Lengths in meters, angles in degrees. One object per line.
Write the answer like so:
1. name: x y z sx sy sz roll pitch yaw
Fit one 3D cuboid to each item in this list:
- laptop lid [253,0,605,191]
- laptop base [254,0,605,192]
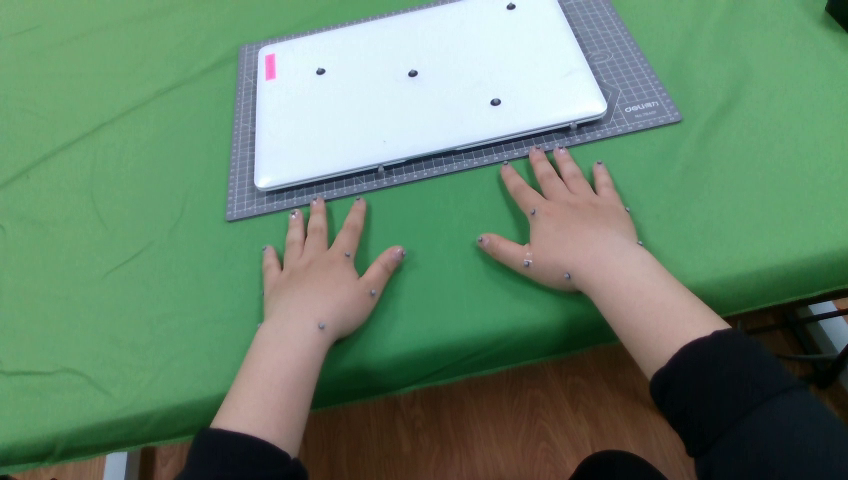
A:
1. laptop lid: -0.012 -0.175 0.649 0.357 0.013 0.239 -11 54 3
2. laptop base: -0.011 -0.169 0.660 0.354 0.023 0.233 -12 55 2
